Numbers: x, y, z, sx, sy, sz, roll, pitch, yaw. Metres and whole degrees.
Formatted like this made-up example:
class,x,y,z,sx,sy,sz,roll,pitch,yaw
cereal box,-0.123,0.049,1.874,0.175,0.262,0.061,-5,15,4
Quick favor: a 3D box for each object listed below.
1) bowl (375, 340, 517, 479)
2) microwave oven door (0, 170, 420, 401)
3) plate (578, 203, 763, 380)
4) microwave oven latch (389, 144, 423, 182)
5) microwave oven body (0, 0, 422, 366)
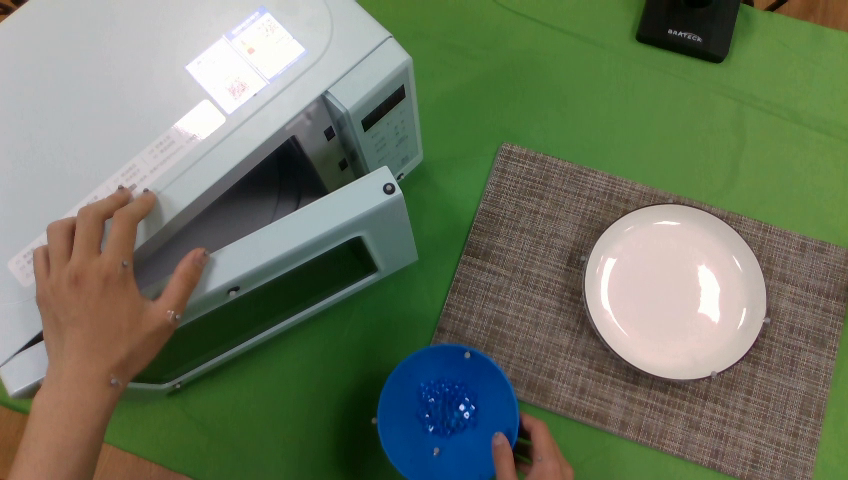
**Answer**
class,x,y,z,sx,sy,sz,roll,pitch,yaw
bowl,0.025,0.191,0.671,0.151,0.077,0.150,-1,74,4
microwave oven door,-0.175,0.060,0.608,0.356,0.245,0.039,-28,75,-5
plate,0.284,0.060,0.711,0.207,0.039,0.206,0,76,2
microwave oven latch,-0.036,-0.094,0.747,0.079,0.029,0.030,-41,78,-7
microwave oven body,-0.271,-0.103,0.658,0.441,0.261,0.324,-43,78,-8
